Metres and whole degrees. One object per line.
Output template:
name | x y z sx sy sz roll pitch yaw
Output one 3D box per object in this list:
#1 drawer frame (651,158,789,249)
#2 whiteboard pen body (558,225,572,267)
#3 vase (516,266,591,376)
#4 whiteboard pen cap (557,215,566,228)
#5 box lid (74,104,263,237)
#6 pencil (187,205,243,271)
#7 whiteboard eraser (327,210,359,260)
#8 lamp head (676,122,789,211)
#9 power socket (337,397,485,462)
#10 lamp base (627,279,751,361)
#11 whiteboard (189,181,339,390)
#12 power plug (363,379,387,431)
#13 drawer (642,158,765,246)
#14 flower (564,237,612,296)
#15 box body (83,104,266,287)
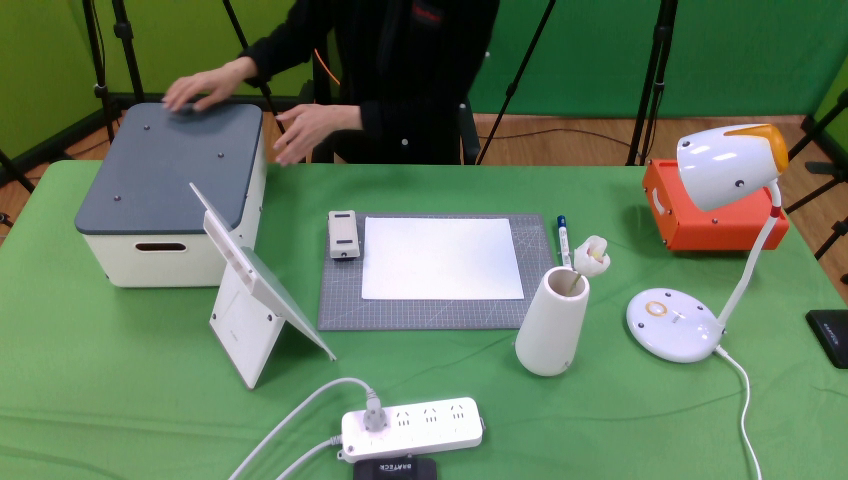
drawer frame | 0.571 -0.075 1.214 0.214 0.083 0.200 0 45 -1
whiteboard pen body | 0.280 0.010 1.207 0.017 0.017 0.140 3 50 -1
vase | 0.208 0.132 0.964 0.098 0.201 0.097 3 46 -3
whiteboard pen cap | 0.284 -0.034 1.246 0.018 0.018 0.033 4 52 -1
box lid | -0.443 -0.139 1.095 0.263 0.015 0.369 -1 45 -5
pencil | -0.401 -0.009 1.176 0.012 0.012 0.193 15 45 10
whiteboard eraser | -0.158 -0.009 1.177 0.055 0.042 0.112 -6 47 -7
lamp head | 0.423 -0.104 0.819 0.122 0.113 0.112 -13 33 40
power socket | -0.018 0.285 0.915 0.227 0.033 0.071 -5 46 -8
lamp base | 0.460 0.100 1.027 0.178 0.181 0.160 27 51 17
whiteboard | -0.292 0.096 0.929 0.144 0.307 0.216 -37 57 -10
power plug | -0.072 0.252 0.910 0.035 0.053 0.072 3 45 -1
drawer | 0.565 -0.076 1.211 0.212 0.073 0.193 2 45 -2
flower | 0.206 0.088 0.892 0.038 0.363 0.044 -16 67 -9
box body | -0.447 -0.088 1.150 0.254 0.161 0.361 -1 46 -5
